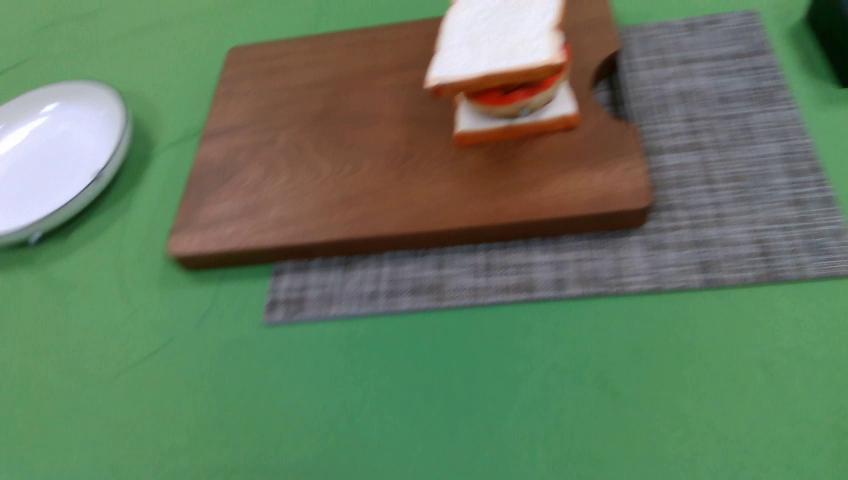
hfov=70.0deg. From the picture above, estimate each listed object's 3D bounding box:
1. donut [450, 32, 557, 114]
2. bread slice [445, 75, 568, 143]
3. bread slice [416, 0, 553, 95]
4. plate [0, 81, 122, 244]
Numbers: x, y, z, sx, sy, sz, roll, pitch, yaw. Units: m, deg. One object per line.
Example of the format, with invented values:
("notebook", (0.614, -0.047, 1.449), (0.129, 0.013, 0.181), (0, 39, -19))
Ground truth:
("donut", (0.063, -0.149, 0.514), (0.099, 0.049, 0.098), (-6, 56, 10))
("bread slice", (0.066, -0.146, 0.548), (0.105, 0.019, 0.130), (-8, 56, 5))
("bread slice", (0.051, -0.173, 0.497), (0.106, 0.018, 0.133), (-7, 52, 18))
("plate", (-0.404, -0.078, 0.620), (0.209, 0.038, 0.207), (-5, 56, 8))
